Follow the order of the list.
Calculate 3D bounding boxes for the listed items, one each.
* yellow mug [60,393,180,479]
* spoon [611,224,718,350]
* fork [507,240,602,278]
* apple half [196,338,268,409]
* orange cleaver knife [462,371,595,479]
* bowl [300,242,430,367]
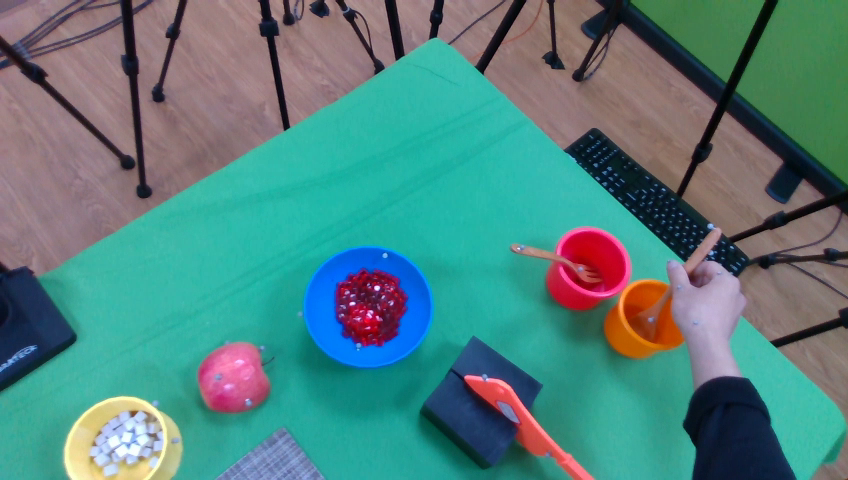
[{"bbox_3d":[-0.325,0.230,0.634,0.100,0.064,0.130,25,65,5],"label":"yellow mug"},{"bbox_3d":[0.297,0.060,0.746,0.041,0.194,0.022,42,28,23],"label":"spoon"},{"bbox_3d":[0.167,0.023,0.754,0.209,0.018,0.028,17,52,-47],"label":"fork"},{"bbox_3d":[-0.223,0.150,0.694,0.075,0.053,0.080,-15,68,-12],"label":"apple half"},{"bbox_3d":[0.125,0.223,0.691,0.212,0.077,0.012,47,59,-9],"label":"orange cleaver knife"},{"bbox_3d":[-0.071,0.086,0.731,0.152,0.077,0.150,3,65,-6],"label":"bowl"}]
